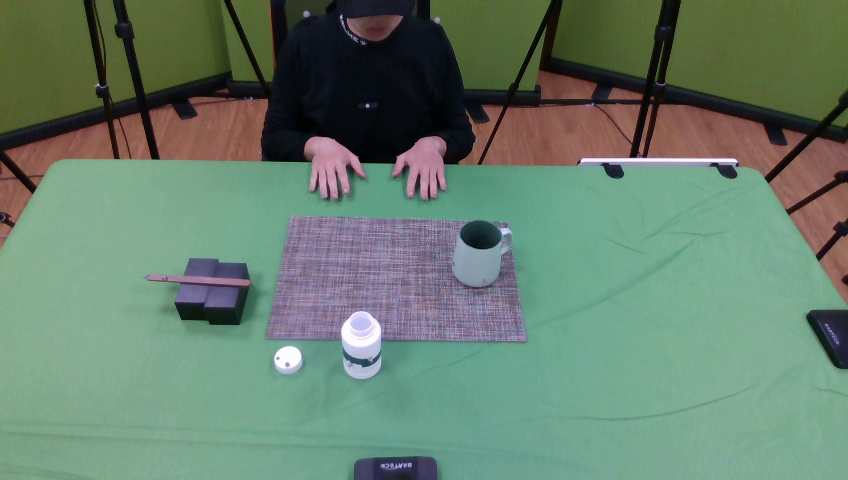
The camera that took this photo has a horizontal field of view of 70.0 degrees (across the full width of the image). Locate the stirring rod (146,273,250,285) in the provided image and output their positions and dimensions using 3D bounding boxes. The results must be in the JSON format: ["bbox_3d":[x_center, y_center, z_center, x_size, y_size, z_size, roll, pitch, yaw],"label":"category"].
[{"bbox_3d":[-0.389,0.068,1.044,0.176,0.006,0.014,3,46,-2],"label":"stirring rod"}]

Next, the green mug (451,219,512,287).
[{"bbox_3d":[0.112,0.019,1.125,0.125,0.105,0.092,-24,52,-24],"label":"green mug"}]

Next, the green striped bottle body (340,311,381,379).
[{"bbox_3d":[-0.101,0.165,0.964,0.063,0.120,0.063,2,46,-2],"label":"green striped bottle body"}]

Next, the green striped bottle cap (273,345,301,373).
[{"bbox_3d":[-0.225,0.195,0.997,0.044,0.020,0.044,2,50,-2],"label":"green striped bottle cap"}]
